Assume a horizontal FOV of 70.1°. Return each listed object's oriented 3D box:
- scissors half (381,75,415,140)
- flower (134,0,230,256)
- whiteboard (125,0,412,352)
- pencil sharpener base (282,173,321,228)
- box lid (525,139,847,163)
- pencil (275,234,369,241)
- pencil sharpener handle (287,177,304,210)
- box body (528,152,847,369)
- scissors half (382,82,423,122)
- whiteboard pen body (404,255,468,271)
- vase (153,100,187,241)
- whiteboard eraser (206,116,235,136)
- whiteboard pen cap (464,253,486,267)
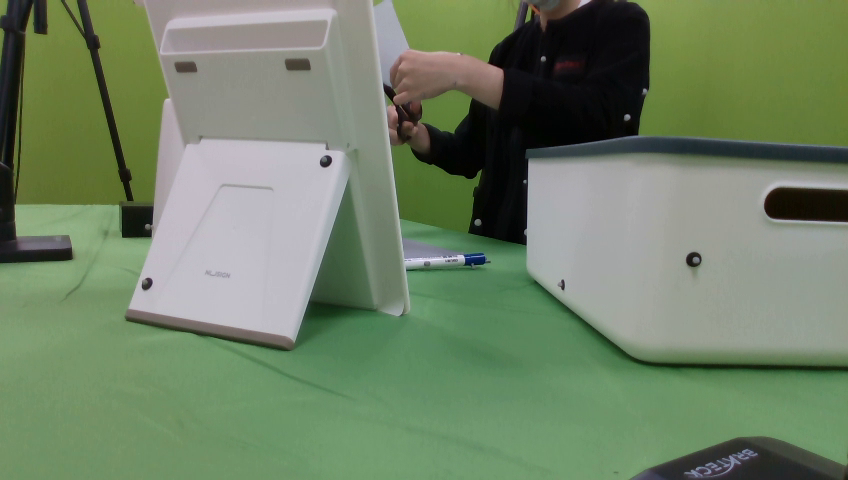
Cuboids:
[{"bbox_3d":[-0.049,-0.232,1.069,0.012,0.040,0.176,22,-20,25],"label":"scissors half"},{"bbox_3d":[-0.282,-0.147,0.713,0.038,0.362,0.044,-23,24,-31],"label":"flower"},{"bbox_3d":[-0.151,-0.049,0.472,0.216,0.305,0.144,6,27,24],"label":"whiteboard"},{"bbox_3d":[-0.247,-0.080,1.212,0.061,0.107,0.076,-2,5,-28],"label":"pencil sharpener base"},{"bbox_3d":[0.261,-0.078,0.580,0.264,0.015,0.371,2,7,-4],"label":"box lid"},{"bbox_3d":[-0.169,-0.006,1.036,0.195,0.012,0.012,-2,9,-45],"label":"pencil"},{"bbox_3d":[-0.269,-0.096,1.257,0.036,0.067,0.030,-8,8,-27],"label":"pencil sharpener handle"},{"bbox_3d":[0.257,-0.005,0.591,0.254,0.160,0.363,2,7,-4],"label":"box body"},{"bbox_3d":[-0.040,-0.251,1.072,0.013,0.040,0.176,16,1,24],"label":"scissors half"},{"bbox_3d":[0.013,0.030,0.792,0.141,0.017,0.017,-3,9,-24],"label":"whiteboard pen body"},{"bbox_3d":[-0.278,-0.066,0.736,0.098,0.200,0.098,2,9,0],"label":"vase"},{"bbox_3d":[-0.450,-0.252,1.335,0.056,0.042,0.112,1,7,-22],"label":"whiteboard eraser"},{"bbox_3d":[0.066,0.027,0.818,0.033,0.018,0.018,-6,10,-24],"label":"whiteboard pen cap"}]
